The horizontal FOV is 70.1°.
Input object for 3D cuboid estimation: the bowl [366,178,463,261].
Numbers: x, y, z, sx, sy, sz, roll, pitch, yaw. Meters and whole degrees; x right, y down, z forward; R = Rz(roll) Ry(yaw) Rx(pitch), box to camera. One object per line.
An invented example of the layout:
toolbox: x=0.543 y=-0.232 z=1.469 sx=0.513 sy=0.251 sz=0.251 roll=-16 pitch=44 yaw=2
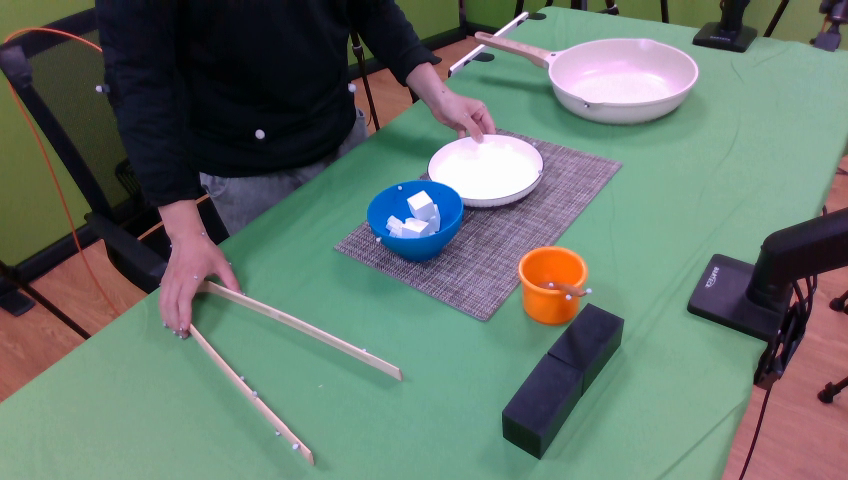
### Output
bowl: x=-0.011 y=-0.021 z=0.945 sx=0.151 sy=0.077 sz=0.150 roll=-4 pitch=41 yaw=4

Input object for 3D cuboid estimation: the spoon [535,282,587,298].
spoon: x=0.176 y=0.063 z=0.774 sx=0.041 sy=0.194 sz=0.021 roll=-3 pitch=85 yaw=1

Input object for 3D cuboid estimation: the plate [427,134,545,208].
plate: x=0.110 y=-0.119 z=1.073 sx=0.207 sy=0.039 sz=0.206 roll=-4 pitch=40 yaw=4

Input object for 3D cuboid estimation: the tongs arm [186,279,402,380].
tongs arm: x=-0.194 y=0.120 z=0.852 sx=0.385 sy=0.028 sz=0.028 roll=18 pitch=49 yaw=27

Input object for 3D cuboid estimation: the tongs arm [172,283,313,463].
tongs arm: x=-0.246 y=0.161 z=0.806 sx=0.381 sy=0.026 sz=0.051 roll=29 pitch=52 yaw=36

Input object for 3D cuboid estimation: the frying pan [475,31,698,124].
frying pan: x=0.320 y=-0.371 z=1.290 sx=0.485 sy=0.103 sz=0.307 roll=28 pitch=50 yaw=23
